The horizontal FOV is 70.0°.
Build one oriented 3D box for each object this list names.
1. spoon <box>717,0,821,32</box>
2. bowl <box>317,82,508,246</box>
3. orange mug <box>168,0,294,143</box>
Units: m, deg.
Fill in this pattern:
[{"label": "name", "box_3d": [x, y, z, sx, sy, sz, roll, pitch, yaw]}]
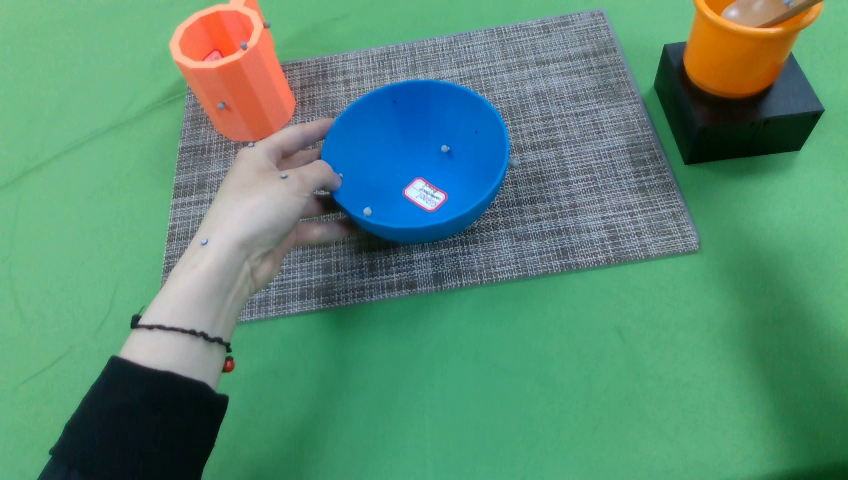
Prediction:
[{"label": "spoon", "box_3d": [0.278, -0.164, 0.397, 0.041, 0.022, 0.192, -48, 21, -9]}, {"label": "bowl", "box_3d": [-0.006, -0.050, 0.504, 0.151, 0.077, 0.150, -3, 58, 5]}, {"label": "orange mug", "box_3d": [-0.180, -0.173, 0.591, 0.083, 0.102, 0.125, 2, 64, 9]}]
